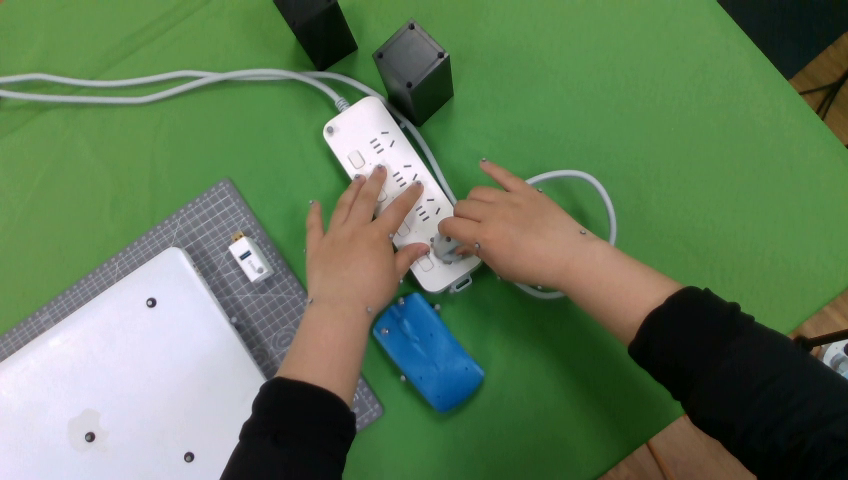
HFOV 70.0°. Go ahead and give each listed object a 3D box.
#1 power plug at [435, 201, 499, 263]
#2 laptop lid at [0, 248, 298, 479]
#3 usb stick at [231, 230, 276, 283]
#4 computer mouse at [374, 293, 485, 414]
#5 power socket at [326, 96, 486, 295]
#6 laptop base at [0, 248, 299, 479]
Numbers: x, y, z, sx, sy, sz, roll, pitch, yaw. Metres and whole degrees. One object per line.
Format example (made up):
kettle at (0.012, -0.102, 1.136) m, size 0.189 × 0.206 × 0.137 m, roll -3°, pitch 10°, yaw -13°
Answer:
power plug at (0.045, -0.005, 0.586) m, size 0.072 × 0.053 × 0.035 m, roll -25°, pitch 86°, yaw 1°
laptop lid at (-0.329, 0.198, 0.609) m, size 0.357 × 0.013 × 0.241 m, roll -33°, pitch 85°, yaw 0°
usb stick at (-0.179, 0.015, 0.623) m, size 0.021 × 0.027 × 0.059 m, roll -35°, pitch 80°, yaw 2°
computer mouse at (0.003, 0.110, 0.595) m, size 0.063 × 0.041 × 0.116 m, roll -40°, pitch 77°, yaw 2°
power socket at (-0.019, -0.046, 0.615) m, size 0.072 × 0.033 × 0.226 m, roll -33°, pitch 82°, yaw 2°
laptop base at (-0.330, 0.198, 0.621) m, size 0.354 × 0.023 × 0.235 m, roll -35°, pitch 86°, yaw 0°
